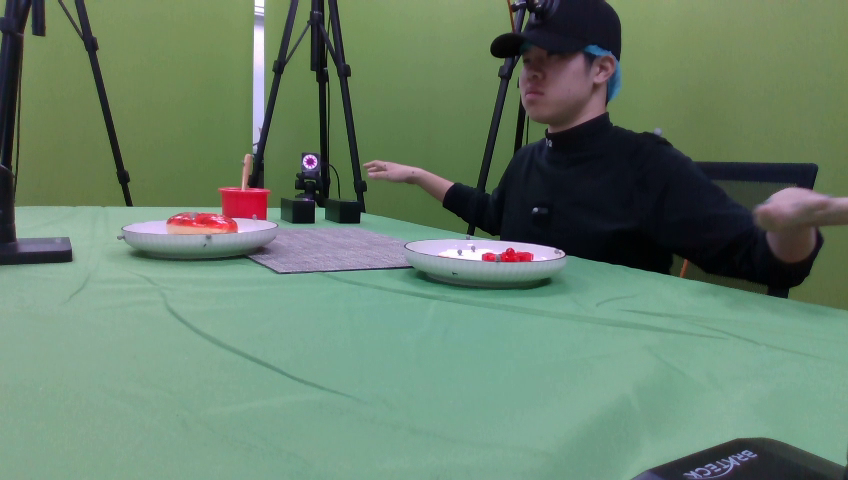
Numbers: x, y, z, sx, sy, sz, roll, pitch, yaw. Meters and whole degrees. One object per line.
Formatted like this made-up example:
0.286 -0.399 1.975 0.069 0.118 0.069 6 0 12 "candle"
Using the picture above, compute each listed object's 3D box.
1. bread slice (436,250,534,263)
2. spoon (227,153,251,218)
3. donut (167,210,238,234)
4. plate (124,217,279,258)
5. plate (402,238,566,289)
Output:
0.078 0.031 0.774 0.105 0.019 0.131 -4 11 -44 "bread slice"
-0.363 -0.107 1.211 0.042 0.021 0.193 -1 47 -7 "spoon"
-0.321 -0.017 0.882 0.099 0.048 0.099 3 6 0 "donut"
-0.315 -0.004 0.871 0.208 0.039 0.207 1 8 0 "plate"
0.074 0.029 0.772 0.209 0.038 0.209 3 7 0 "plate"
